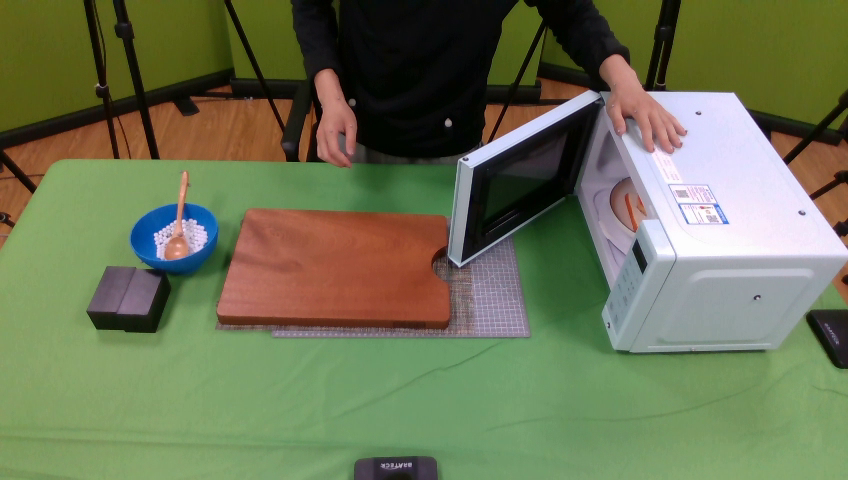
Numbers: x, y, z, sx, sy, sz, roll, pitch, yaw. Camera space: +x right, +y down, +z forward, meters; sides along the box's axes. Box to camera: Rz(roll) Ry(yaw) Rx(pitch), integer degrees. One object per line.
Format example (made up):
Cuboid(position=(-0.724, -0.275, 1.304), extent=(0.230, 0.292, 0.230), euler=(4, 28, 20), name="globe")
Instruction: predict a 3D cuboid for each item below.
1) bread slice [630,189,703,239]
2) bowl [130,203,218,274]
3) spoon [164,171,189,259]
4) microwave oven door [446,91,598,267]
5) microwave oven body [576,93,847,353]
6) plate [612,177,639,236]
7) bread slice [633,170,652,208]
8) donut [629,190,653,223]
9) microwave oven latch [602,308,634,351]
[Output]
Cuboid(position=(0.478, -0.051, 1.189), extent=(0.131, 0.019, 0.104), euler=(17, 47, 13), name="bread slice")
Cuboid(position=(-0.451, 0.009, 1.117), extent=(0.151, 0.077, 0.150), euler=(3, 45, -2), name="bowl")
Cuboid(position=(-0.452, -0.046, 1.129), extent=(0.041, 0.022, 0.193), euler=(-1, 69, -3), name="spoon")
Cuboid(position=(0.191, -0.120, 1.157), extent=(0.356, 0.245, 0.039), euler=(-31, 55, -30), name="microwave oven door")
Cuboid(position=(0.475, -0.041, 1.109), extent=(0.326, 0.261, 0.438), euler=(-1, 45, -4), name="microwave oven body")
Cuboid(position=(0.472, -0.051, 1.187), extent=(0.208, 0.039, 0.206), euler=(-1, 45, 1), name="plate")
Cuboid(position=(0.463, -0.087, 1.136), extent=(0.134, 0.018, 0.106), euler=(8, 43, -12), name="bread slice")
Cuboid(position=(0.443, -0.059, 1.163), extent=(0.099, 0.048, 0.098), euler=(1, 50, -1), name="donut")
Cuboid(position=(0.332, 0.153, 1.044), extent=(0.030, 0.029, 0.078), euler=(-1, 45, -4), name="microwave oven latch")
